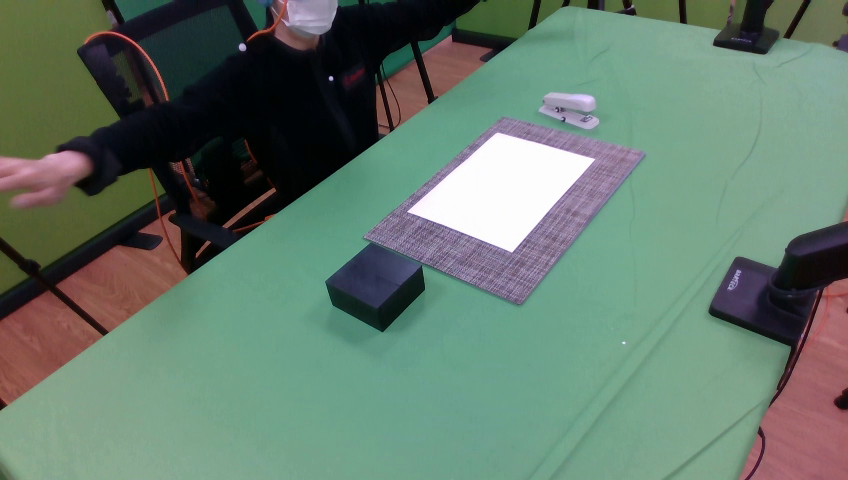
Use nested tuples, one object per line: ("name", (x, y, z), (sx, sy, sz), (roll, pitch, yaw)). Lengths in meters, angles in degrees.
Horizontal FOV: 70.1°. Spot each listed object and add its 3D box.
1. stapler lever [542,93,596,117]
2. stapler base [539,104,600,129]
("stapler lever", (0.292, -0.280, 1.218), (0.027, 0.040, 0.117), (-34, 46, -29))
("stapler base", (0.297, -0.261, 1.233), (0.041, 0.024, 0.129), (-34, 45, -29))
